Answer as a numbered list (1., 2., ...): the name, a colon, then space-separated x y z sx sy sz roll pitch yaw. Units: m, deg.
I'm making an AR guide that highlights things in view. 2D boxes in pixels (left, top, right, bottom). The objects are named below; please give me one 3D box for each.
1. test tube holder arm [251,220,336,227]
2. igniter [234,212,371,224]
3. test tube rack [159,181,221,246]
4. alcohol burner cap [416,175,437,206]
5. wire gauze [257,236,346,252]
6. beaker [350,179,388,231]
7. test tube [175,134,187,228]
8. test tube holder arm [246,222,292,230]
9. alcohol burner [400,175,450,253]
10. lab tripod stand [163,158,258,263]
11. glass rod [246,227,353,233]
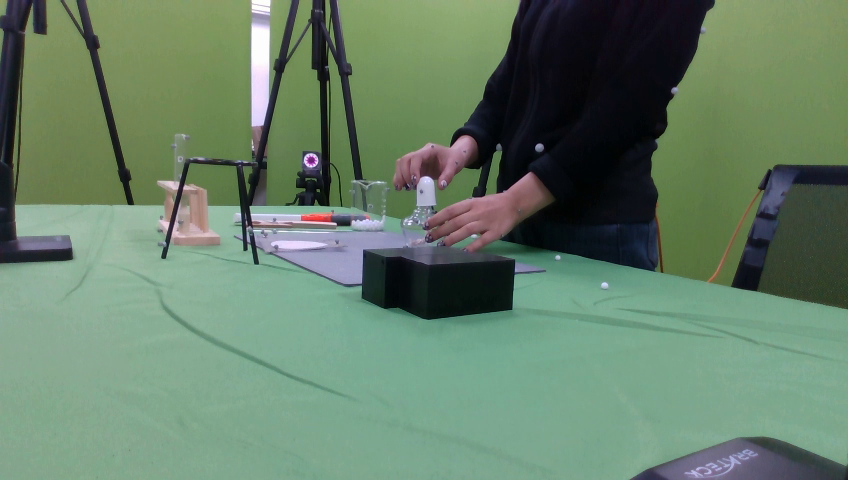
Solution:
1. test tube holder arm: -0.253 -0.031 1.156 0.179 0.015 0.013 -2 43 -30
2. igniter: -0.245 -0.045 1.248 0.278 0.025 0.057 -1 -3 -25
3. test tube rack: -0.395 -0.050 1.010 0.067 0.085 0.241 -2 8 -28
4. alcohol burner cap: 0.003 -0.076 0.929 0.034 0.048 0.034 -3 7 1
5. wire gauze: -0.189 0.005 0.931 0.122 0.011 0.124 1 7 -21
6. beaker: -0.111 -0.070 1.204 0.074 0.100 0.084 2 8 0
7. test tube: -0.388 -0.094 0.964 0.017 0.150 0.017 1 2 0
8. test tube holder arm: -0.291 -0.026 1.130 0.088 0.015 0.010 -1 42 -29
9. alcohol burner: 0.002 -0.041 0.934 0.078 0.119 0.078 2 9 0
10. lab tripod stand: -0.265 -0.041 0.802 0.148 0.131 0.148 4 7 0
11. glass rod: -0.224 -0.017 1.109 0.201 0.008 0.008 1 7 -27
